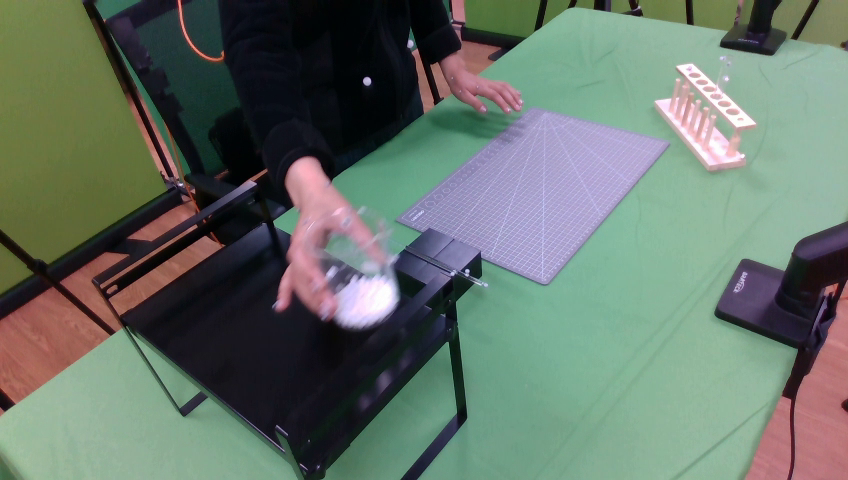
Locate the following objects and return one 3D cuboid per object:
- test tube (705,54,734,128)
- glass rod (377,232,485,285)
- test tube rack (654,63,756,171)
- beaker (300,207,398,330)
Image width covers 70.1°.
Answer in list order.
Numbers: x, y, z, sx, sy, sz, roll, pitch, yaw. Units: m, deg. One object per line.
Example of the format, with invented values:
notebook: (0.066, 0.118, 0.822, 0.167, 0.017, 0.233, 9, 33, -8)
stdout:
test tube: (0.523, -0.260, 1.073, 0.017, 0.151, 0.017, -4, 46, 4)
glass rod: (0.006, 0.024, 0.878, 0.198, 0.008, 0.008, 24, 50, 32)
test tube rack: (0.510, -0.234, 1.120, 0.067, 0.085, 0.241, -8, 41, -1)
beaker: (-0.064, 0.029, 0.577, 0.084, 0.101, 0.073, -6, 37, 7)
